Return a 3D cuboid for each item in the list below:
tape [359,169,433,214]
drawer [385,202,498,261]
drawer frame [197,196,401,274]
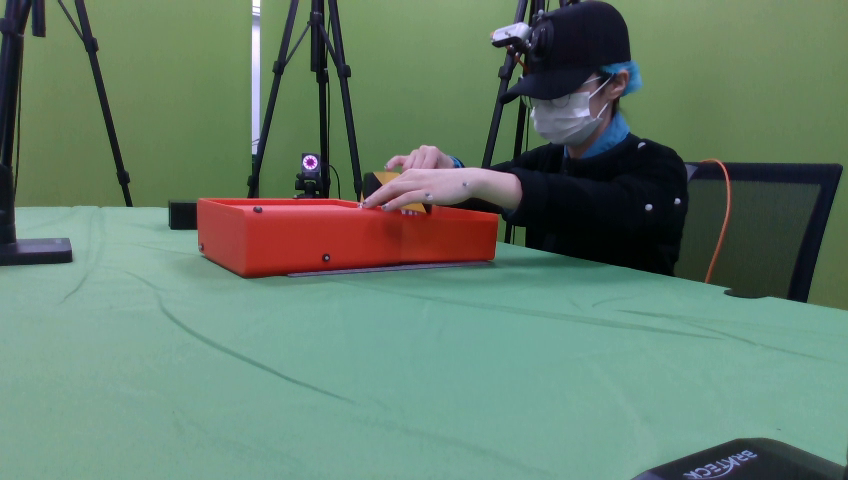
[{"bbox_3d":[-0.043,-0.073,0.924,0.117,0.052,0.117,7,-3,1],"label":"tape"},{"bbox_3d":[-0.029,-0.017,0.917,0.213,0.073,0.193,-2,9,-34],"label":"drawer"},{"bbox_3d":[-0.171,-0.015,0.819,0.215,0.082,0.200,-4,10,-35],"label":"drawer frame"}]
